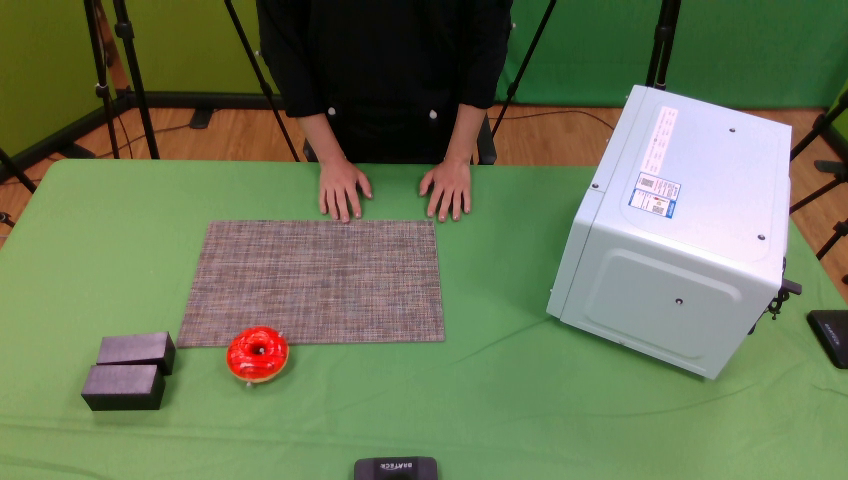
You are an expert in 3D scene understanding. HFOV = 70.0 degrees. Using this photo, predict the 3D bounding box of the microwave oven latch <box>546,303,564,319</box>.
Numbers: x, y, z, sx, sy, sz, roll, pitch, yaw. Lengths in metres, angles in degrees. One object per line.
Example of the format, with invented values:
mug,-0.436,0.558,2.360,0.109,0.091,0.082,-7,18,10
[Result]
microwave oven latch,0.242,0.102,1.081,0.030,0.029,0.079,21,48,17

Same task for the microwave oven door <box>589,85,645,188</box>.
microwave oven door,0.342,-0.107,1.149,0.039,0.245,0.354,20,48,15

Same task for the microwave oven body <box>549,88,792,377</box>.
microwave oven body,0.456,-0.028,1.088,0.325,0.261,0.440,20,47,16

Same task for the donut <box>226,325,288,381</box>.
donut,-0.270,0.182,0.984,0.099,0.048,0.098,5,49,-5
